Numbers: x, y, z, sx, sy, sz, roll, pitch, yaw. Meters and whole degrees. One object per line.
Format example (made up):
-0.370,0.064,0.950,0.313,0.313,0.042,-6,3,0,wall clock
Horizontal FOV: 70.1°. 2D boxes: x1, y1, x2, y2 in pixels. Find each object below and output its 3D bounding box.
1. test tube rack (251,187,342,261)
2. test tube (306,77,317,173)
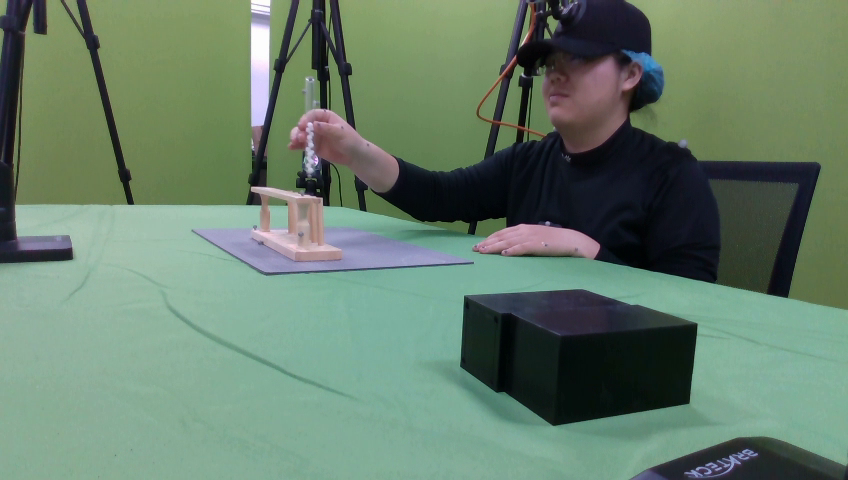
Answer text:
-0.196,-0.030,0.902,0.067,0.085,0.241,-2,8,-29,test tube rack
-0.176,-0.180,0.949,0.017,0.150,0.017,0,0,0,test tube
